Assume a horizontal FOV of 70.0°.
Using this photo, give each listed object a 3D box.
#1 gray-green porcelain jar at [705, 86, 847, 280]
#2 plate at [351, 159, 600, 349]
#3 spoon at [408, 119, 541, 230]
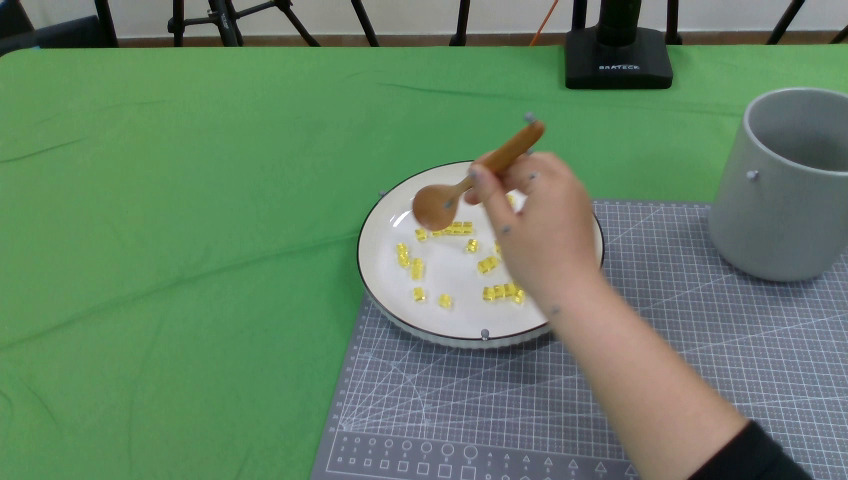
[{"bbox_3d":[0.288,-0.039,0.479,0.106,0.128,0.105,-3,47,4],"label":"gray-green porcelain jar"},{"bbox_3d":[0.043,0.010,0.522,0.207,0.039,0.205,-3,47,3],"label":"plate"},{"bbox_3d":[0.032,-0.044,0.462,0.021,0.193,0.041,-37,93,-25],"label":"spoon"}]
